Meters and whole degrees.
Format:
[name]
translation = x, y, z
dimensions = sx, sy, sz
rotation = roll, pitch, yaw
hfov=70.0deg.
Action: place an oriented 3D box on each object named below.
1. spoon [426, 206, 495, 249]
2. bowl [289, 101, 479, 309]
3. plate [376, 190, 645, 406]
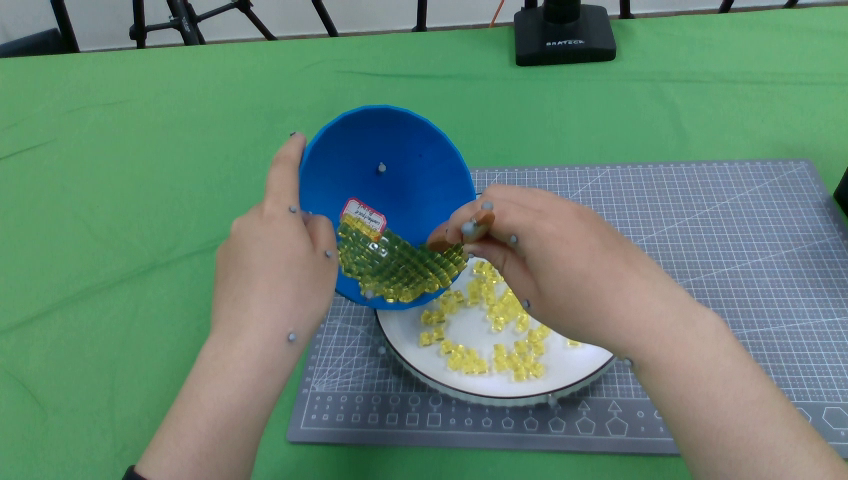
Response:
[spoon]
translation = 0.026, -0.006, 0.380
dimensions = 0.041, 0.193, 0.021
rotation = -22, 92, -4
[bowl]
translation = -0.041, -0.022, 0.467
dimensions = 0.151, 0.152, 0.076
rotation = -42, 18, -28
[plate]
translation = 0.066, 0.042, 0.487
dimensions = 0.207, 0.039, 0.205
rotation = -4, 47, 5
